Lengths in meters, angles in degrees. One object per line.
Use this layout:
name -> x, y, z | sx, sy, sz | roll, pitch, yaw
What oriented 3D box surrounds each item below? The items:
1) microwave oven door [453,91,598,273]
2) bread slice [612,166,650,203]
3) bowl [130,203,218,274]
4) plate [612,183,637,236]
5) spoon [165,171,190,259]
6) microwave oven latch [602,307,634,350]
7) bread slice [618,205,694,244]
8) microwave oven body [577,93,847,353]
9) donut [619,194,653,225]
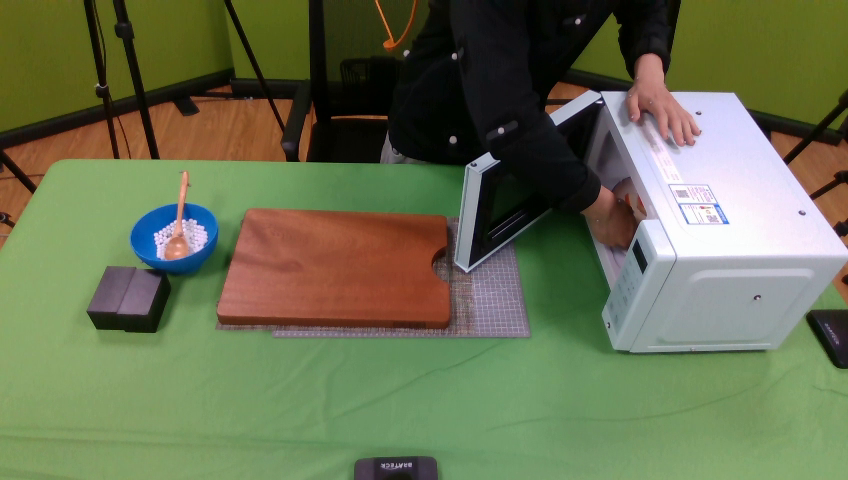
microwave oven door -> 0.197, -0.115, 1.153 | 0.356, 0.245, 0.039 | -34, 57, -31
bread slice -> 0.436, -0.107, 1.155 | 0.134, 0.018, 0.106 | -5, 42, -27
bowl -> -0.450, 0.010, 1.116 | 0.151, 0.077, 0.150 | 3, 45, -3
plate -> 0.472, -0.054, 1.189 | 0.208, 0.039, 0.206 | -1, 45, 1
spoon -> -0.452, -0.046, 1.128 | 0.041, 0.022, 0.193 | -1, 69, -3
microwave oven latch -> 0.332, 0.153, 1.044 | 0.030, 0.029, 0.078 | -1, 45, -4
bread slice -> 0.463, -0.037, 1.205 | 0.131, 0.019, 0.104 | -9, 35, 7
microwave oven body -> 0.475, -0.041, 1.109 | 0.326, 0.261, 0.438 | -1, 45, -4
donut -> 0.430, -0.060, 1.175 | 0.099, 0.048, 0.098 | -8, 25, 4
